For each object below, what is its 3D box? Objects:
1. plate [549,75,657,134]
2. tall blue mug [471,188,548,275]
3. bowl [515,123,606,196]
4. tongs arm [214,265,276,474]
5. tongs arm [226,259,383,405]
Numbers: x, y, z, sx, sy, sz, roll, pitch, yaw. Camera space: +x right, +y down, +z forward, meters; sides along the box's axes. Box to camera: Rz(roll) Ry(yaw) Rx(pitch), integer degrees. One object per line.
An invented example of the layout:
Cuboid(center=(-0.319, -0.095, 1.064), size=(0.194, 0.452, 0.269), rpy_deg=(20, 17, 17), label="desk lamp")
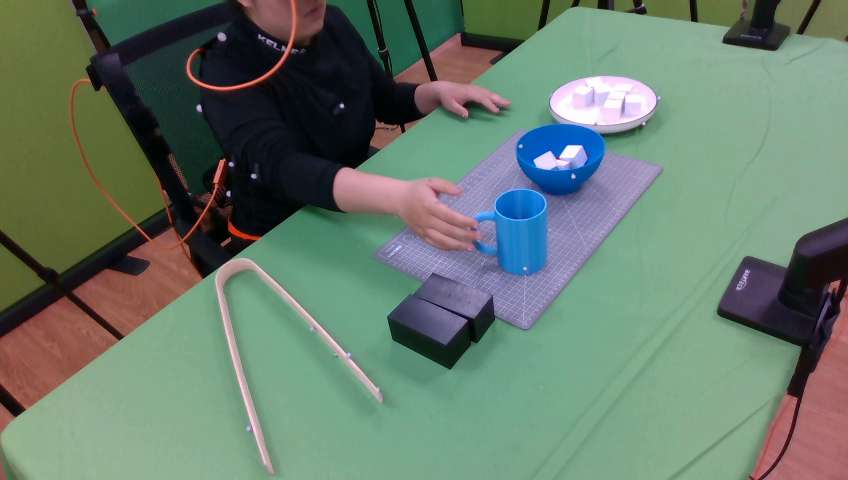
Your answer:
Cuboid(center=(0.357, -0.269, 1.220), size=(0.209, 0.038, 0.208), rpy_deg=(-5, 41, 5), label="plate")
Cuboid(center=(0.131, -0.007, 0.893), size=(0.107, 0.108, 0.077), rpy_deg=(-20, 42, -11), label="tall blue mug")
Cuboid(center=(0.235, -0.131, 1.045), size=(0.151, 0.077, 0.150), rpy_deg=(-5, 40, 5), label="bowl")
Cuboid(center=(-0.252, 0.159, 0.837), size=(0.028, 0.028, 0.384), rpy_deg=(-28, 43, -8), label="tongs arm")
Cuboid(center=(-0.185, 0.121, 0.863), size=(0.051, 0.027, 0.381), rpy_deg=(-34, 45, -20), label="tongs arm")
